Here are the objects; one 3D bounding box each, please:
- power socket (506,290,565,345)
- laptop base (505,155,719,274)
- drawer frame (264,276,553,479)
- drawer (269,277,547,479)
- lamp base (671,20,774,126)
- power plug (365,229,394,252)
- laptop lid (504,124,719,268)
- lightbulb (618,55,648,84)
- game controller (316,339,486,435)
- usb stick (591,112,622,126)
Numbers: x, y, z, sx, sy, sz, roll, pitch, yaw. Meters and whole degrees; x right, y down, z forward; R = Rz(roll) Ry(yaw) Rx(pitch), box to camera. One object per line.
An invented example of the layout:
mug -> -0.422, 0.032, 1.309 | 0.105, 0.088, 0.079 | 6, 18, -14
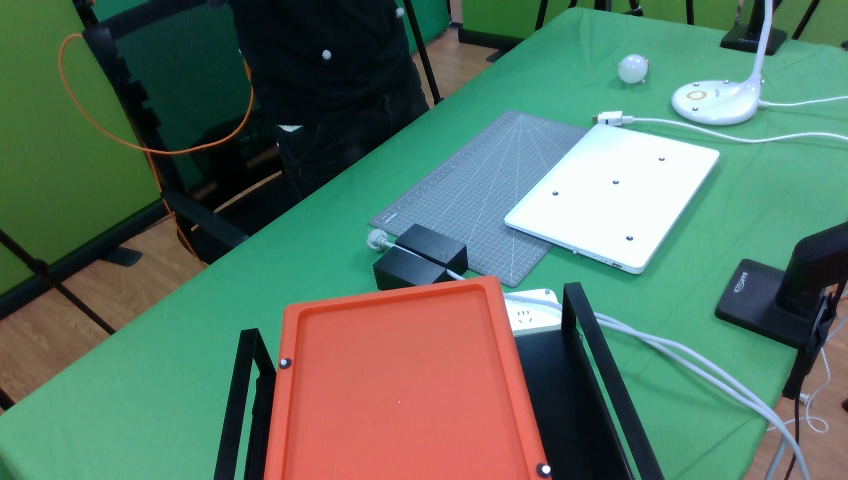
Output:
power socket -> 0.081, 0.112, 0.822 | 0.227, 0.033, 0.072 | -7, 41, 0
laptop base -> 0.326, -0.083, 1.028 | 0.233, 0.023, 0.355 | 21, 48, 32
drawer frame -> -0.016, 0.137, 0.490 | 0.202, 0.083, 0.212 | -8, 41, -1
drawer -> -0.018, 0.137, 0.493 | 0.195, 0.073, 0.210 | -7, 41, -1
lamp base -> 0.581, -0.332, 1.154 | 0.179, 0.181, 0.160 | 2, 41, 7
power plug -> -0.068, 0.010, 0.954 | 0.035, 0.053, 0.072 | -40, 53, 2
laptop lid -> 0.323, -0.093, 1.021 | 0.240, 0.013, 0.358 | 23, 49, 32
lightbulb -> 0.464, -0.376, 1.324 | 0.059, 0.059, 0.108 | 22, 34, 30
game controller -> -0.020, 0.119, 0.533 | 0.155, 0.052, 0.096 | -3, 40, 1
usb stick -> 0.360, -0.239, 1.197 | 0.059, 0.021, 0.027 | 4, 42, 27
